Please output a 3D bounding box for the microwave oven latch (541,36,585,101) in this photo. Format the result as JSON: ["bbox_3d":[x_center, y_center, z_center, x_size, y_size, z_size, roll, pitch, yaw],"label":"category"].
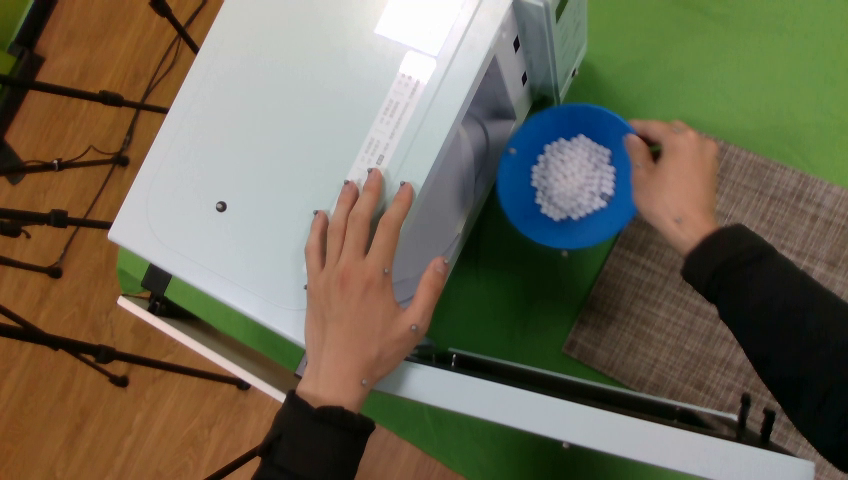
[{"bbox_3d":[0.165,-0.208,0.719,0.030,0.029,0.079,26,90,17],"label":"microwave oven latch"}]

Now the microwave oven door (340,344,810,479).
[{"bbox_3d":[0.128,0.154,0.569,0.354,0.245,0.039,10,84,16],"label":"microwave oven door"}]

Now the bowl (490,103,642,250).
[{"bbox_3d":[0.152,-0.062,0.645,0.151,0.077,0.151,-1,87,17],"label":"bowl"}]

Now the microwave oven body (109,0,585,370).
[{"bbox_3d":[-0.065,-0.123,0.666,0.324,0.261,0.441,25,89,16],"label":"microwave oven body"}]
